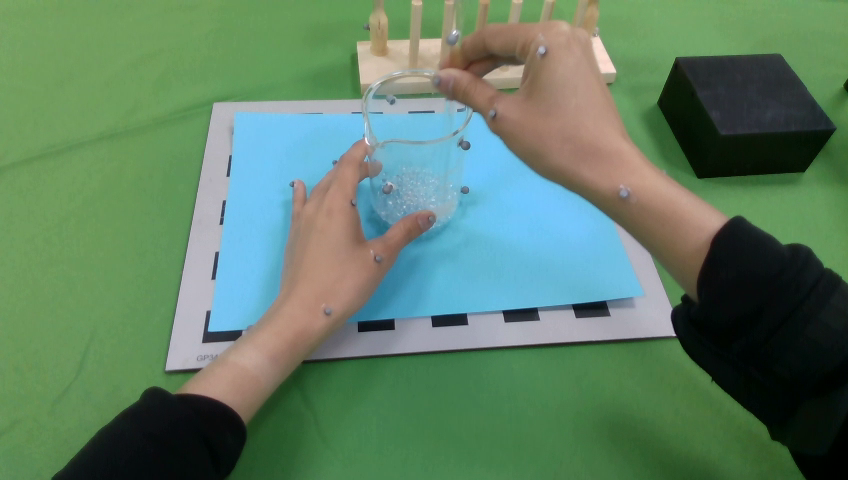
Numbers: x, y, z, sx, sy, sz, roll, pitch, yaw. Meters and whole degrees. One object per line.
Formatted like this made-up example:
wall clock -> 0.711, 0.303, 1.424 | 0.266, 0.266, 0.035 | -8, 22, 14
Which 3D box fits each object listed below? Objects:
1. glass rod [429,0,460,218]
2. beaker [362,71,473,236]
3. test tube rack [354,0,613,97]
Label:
glass rod -> 0.011, -0.082, 0.379 | 0.008, 0.201, 0.008 | 2, 50, -2
beaker -> -0.008, -0.056, 0.436 | 0.073, 0.101, 0.084 | 35, 58, 23
test tube rack -> 0.058, -0.192, 0.560 | 0.243, 0.086, 0.066 | -4, 52, -6
